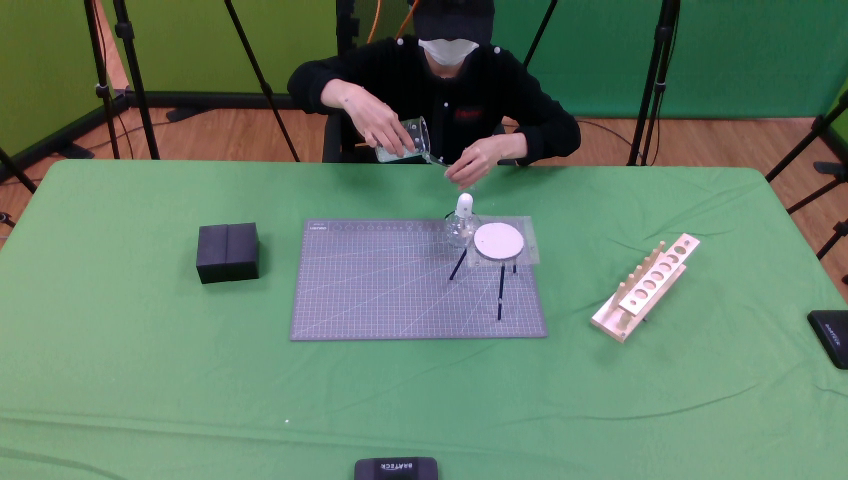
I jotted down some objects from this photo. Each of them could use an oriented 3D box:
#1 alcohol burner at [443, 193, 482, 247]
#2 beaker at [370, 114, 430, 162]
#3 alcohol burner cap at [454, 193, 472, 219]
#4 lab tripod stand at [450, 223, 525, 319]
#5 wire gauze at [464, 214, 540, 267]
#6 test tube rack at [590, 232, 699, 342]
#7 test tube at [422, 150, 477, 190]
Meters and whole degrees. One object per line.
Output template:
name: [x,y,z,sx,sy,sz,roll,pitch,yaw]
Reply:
alcohol burner: [0.075,-0.044,1.177,0.078,0.120,0.077,2,45,-1]
beaker: [-0.047,-0.189,1.153,0.100,0.084,0.073,-13,38,-7]
alcohol burner cap: [0.076,-0.068,1.151,0.034,0.048,0.033,4,46,-4]
lab tripod stand: [0.120,0.046,1.080,0.148,0.132,0.147,1,47,-1]
wire gauze: [0.131,-0.002,1.034,0.121,0.011,0.124,1,45,-2]
test tube rack: [0.407,0.074,1.112,0.066,0.085,0.242,35,53,26]
test tube: [0.054,-0.140,1.226,0.151,0.017,0.017,29,34,-34]
